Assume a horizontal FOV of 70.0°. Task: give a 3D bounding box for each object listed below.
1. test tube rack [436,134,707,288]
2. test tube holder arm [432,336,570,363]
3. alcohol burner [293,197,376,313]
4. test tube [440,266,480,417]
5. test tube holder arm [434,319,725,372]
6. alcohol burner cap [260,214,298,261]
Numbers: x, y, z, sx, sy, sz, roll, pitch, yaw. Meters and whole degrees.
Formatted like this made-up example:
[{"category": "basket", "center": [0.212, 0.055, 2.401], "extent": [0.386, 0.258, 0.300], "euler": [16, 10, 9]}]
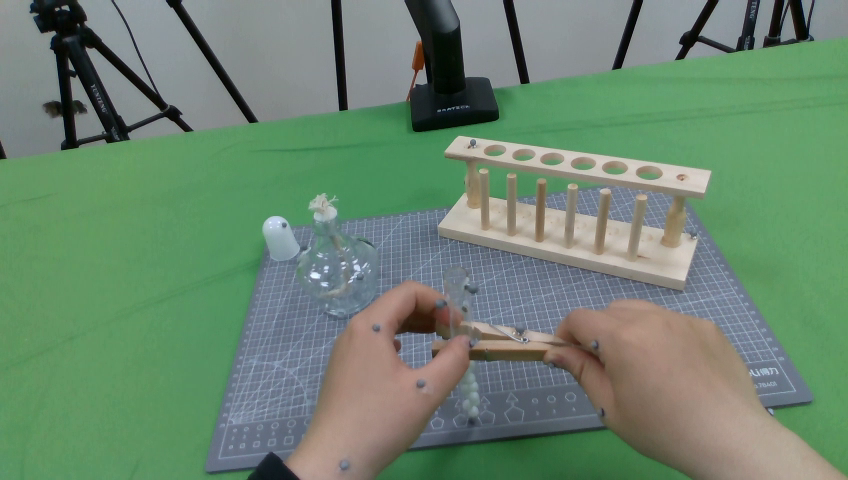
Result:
[{"category": "test tube rack", "center": [0.128, -0.033, 0.578], "extent": [0.241, 0.086, 0.066], "euler": [13, 44, 26]}, {"category": "test tube holder arm", "center": [0.049, 0.070, 0.390], "extent": [0.088, 0.015, 0.010], "euler": [-5, 55, 8]}, {"category": "alcohol burner", "center": [-0.083, 0.009, 0.546], "extent": [0.078, 0.120, 0.077], "euler": [-4, 40, 4]}, {"category": "test tube", "center": [0.026, 0.073, 0.402], "extent": [0.017, 0.152, 0.017], "euler": [-5, 43, 5]}, {"category": "test tube holder arm", "center": [0.093, 0.066, 0.384], "extent": [0.178, 0.015, 0.013], "euler": [4, 58, 14]}, {"category": "alcohol burner cap", "center": [-0.154, -0.005, 0.637], "extent": [0.034, 0.048, 0.033], "euler": [-5, 40, 4]}]
